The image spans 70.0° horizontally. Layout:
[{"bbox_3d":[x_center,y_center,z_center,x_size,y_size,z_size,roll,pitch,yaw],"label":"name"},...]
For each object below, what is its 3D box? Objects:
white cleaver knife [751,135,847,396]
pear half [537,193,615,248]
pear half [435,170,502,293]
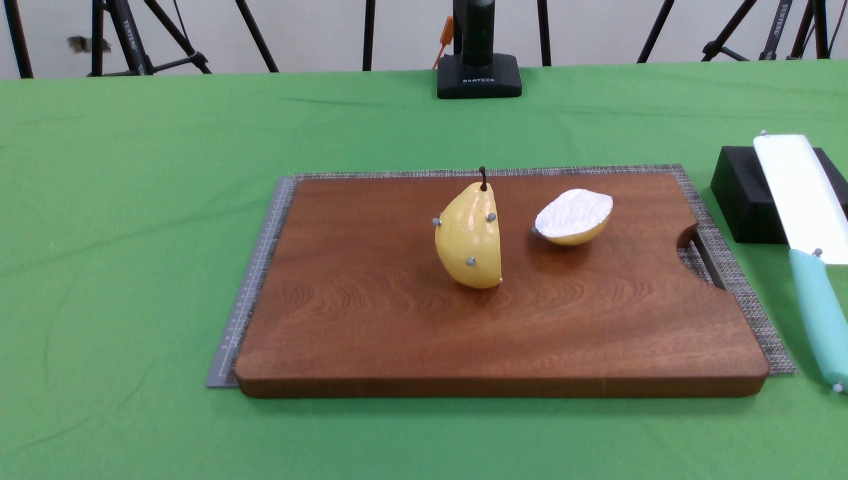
[{"bbox_3d":[0.347,0.003,0.528,0.066,0.022,0.284,2,54,8],"label":"white cleaver knife"},{"bbox_3d":[0.141,-0.014,0.558,0.070,0.031,0.087,-7,24,19],"label":"pear half"},{"bbox_3d":[0.037,-0.009,0.498,0.056,0.111,0.075,-7,36,-4],"label":"pear half"}]
